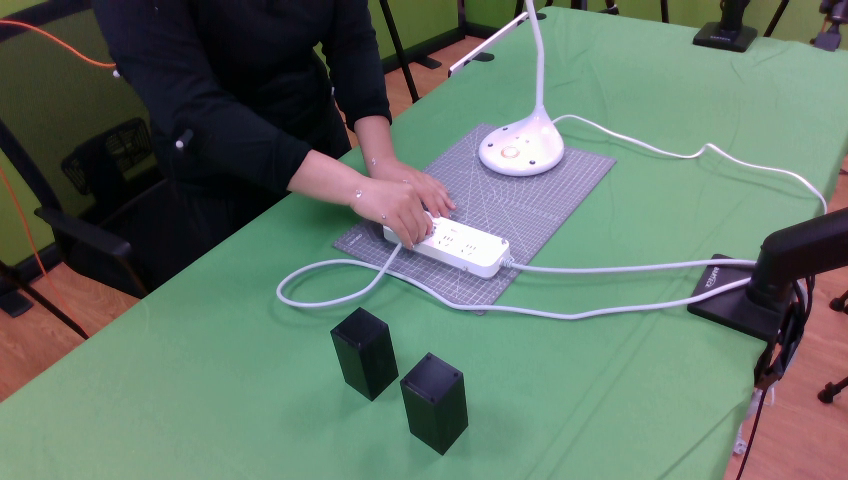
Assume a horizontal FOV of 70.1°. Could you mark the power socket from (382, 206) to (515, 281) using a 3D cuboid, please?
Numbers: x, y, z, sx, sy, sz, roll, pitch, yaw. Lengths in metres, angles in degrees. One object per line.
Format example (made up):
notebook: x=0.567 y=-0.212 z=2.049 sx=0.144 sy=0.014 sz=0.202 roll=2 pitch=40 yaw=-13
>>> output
power socket: x=0.032 y=0.002 z=0.951 sx=0.225 sy=0.033 sz=0.072 roll=21 pitch=49 yaw=29

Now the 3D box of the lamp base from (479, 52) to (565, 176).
lamp base: x=0.182 y=-0.235 z=1.094 sx=0.159 sy=0.181 sz=0.179 roll=18 pitch=44 yaw=27

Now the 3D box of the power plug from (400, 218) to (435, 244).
power plug: x=-0.015 y=-0.006 z=0.939 sx=0.073 sy=0.053 sz=0.035 roll=-36 pitch=47 yaw=-23
